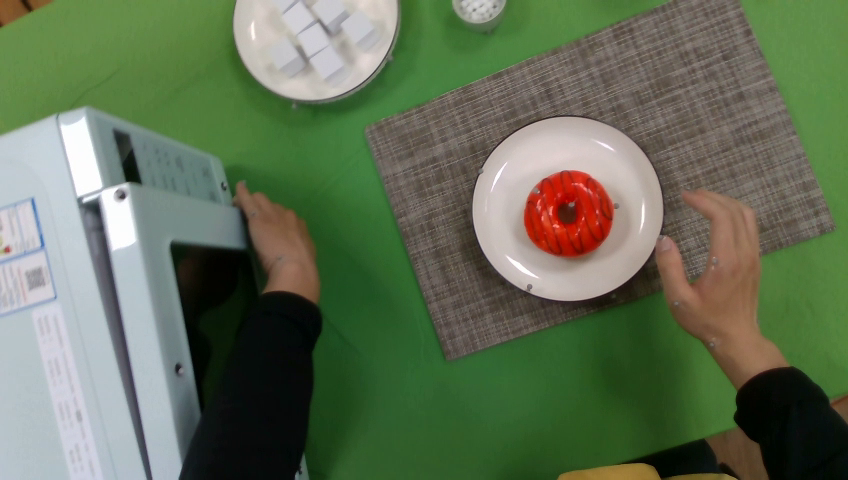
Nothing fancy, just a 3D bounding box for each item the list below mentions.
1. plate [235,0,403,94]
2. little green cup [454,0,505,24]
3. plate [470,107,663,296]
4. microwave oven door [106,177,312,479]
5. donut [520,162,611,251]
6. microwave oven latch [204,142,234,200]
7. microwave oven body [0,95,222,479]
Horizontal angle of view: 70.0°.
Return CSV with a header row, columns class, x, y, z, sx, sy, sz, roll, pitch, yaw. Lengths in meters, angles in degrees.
class,x,y,z,sx,sy,sz,roll,pitch,yaw
plate,-0.125,-0.276,0.736,0.207,0.039,0.207,0,88,9
little green cup,0.067,-0.283,0.705,0.061,0.039,0.061,0,88,10
plate,0.156,-0.042,0.679,0.209,0.038,0.209,0,88,9
microwave oven door,-0.202,0.126,0.613,0.039,0.244,0.355,-14,86,8
donut,0.155,-0.036,0.667,0.099,0.048,0.099,0,90,8
microwave oven latch,-0.255,-0.076,0.731,0.030,0.029,0.079,-18,86,8
microwave oven body,-0.363,0.131,0.644,0.326,0.261,0.440,-17,86,8
